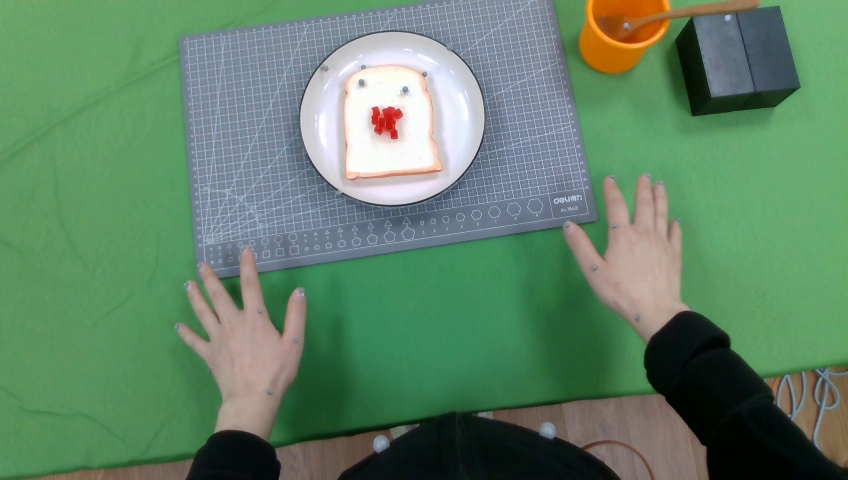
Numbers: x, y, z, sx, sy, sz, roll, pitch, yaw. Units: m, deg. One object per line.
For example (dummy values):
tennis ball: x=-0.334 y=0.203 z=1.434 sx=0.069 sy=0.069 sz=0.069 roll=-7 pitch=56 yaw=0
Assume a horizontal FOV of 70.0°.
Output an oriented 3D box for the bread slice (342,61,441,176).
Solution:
bread slice: x=-0.043 y=-0.138 z=0.685 sx=0.107 sy=0.018 sz=0.133 roll=-8 pitch=78 yaw=-3

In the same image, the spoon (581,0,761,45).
spoon: x=0.256 y=-0.239 z=0.650 sx=0.022 sy=0.192 sz=0.041 roll=31 pitch=75 yaw=-39

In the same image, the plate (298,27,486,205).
plate: x=-0.035 y=-0.137 z=0.684 sx=0.209 sy=0.038 sz=0.208 roll=0 pitch=79 yaw=0
